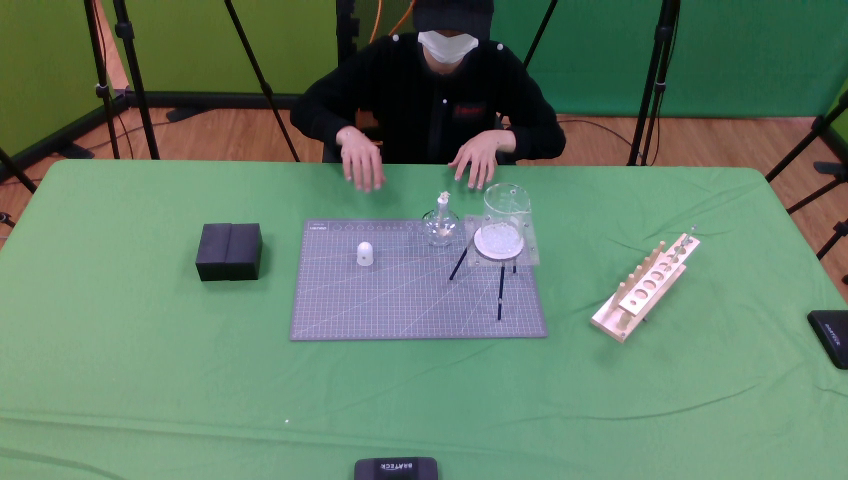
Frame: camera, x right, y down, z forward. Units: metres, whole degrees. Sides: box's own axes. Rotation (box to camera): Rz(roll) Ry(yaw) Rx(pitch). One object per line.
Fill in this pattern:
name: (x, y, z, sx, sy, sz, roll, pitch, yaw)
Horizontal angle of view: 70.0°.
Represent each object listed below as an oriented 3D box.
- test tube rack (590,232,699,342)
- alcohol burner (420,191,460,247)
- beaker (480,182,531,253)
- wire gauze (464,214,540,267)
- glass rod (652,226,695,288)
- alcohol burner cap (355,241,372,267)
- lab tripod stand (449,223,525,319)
test tube rack: (0.407, 0.074, 1.112, 0.066, 0.085, 0.242, 35, 53, 26)
alcohol burner: (0.032, -0.045, 1.176, 0.078, 0.120, 0.077, 2, 44, -1)
beaker: (0.133, -0.033, 0.998, 0.083, 0.101, 0.074, 26, 51, 22)
wire gauze: (0.131, -0.001, 1.035, 0.121, 0.011, 0.124, 1, 44, -3)
glass rod: (0.431, 0.037, 1.057, 0.008, 0.200, 0.008, 1, 54, -1)
alcohol burner cap: (-0.114, 0.024, 1.147, 0.034, 0.048, 0.033, 2, 45, -2)
lab tripod stand: (0.120, 0.046, 1.080, 0.148, 0.132, 0.147, 1, 47, -1)
